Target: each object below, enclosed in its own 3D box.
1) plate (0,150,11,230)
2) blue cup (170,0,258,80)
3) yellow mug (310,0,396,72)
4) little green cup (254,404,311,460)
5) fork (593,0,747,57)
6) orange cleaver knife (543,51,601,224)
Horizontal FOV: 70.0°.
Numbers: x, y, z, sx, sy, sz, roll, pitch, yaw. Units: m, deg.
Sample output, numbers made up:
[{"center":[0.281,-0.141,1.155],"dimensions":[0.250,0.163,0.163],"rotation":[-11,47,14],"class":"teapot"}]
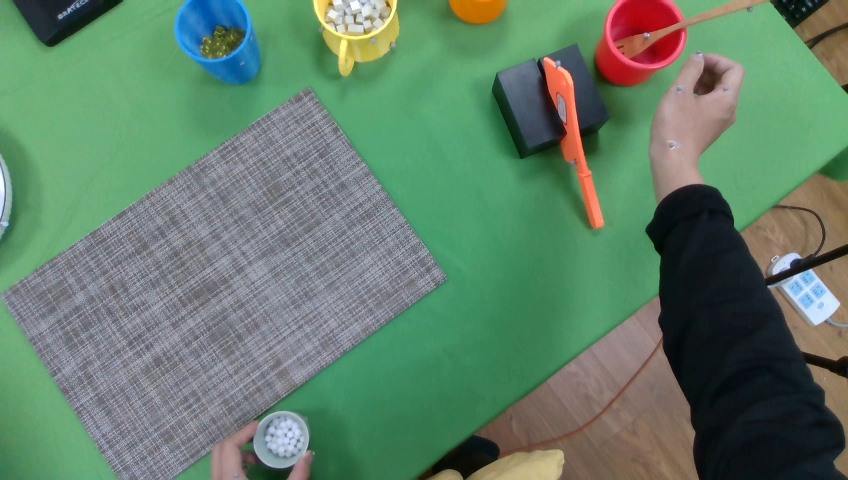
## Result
[{"center":[-0.595,-0.053,0.725],"dimensions":[0.208,0.039,0.207],"rotation":[0,83,-1],"class":"plate"},{"center":[-0.239,-0.237,0.721],"dimensions":[0.093,0.100,0.092],"rotation":[0,84,-2],"class":"blue cup"},{"center":[-0.089,-0.271,0.744],"dimensions":[0.100,0.064,0.130],"rotation":[12,84,1],"class":"yellow mug"},{"center":[-0.159,0.218,0.696],"dimensions":[0.061,0.038,0.061],"rotation":[0,87,2],"class":"little green cup"},{"center":[0.298,-0.257,0.710],"dimensions":[0.206,0.019,0.028],"rotation":[-12,79,40],"class":"fork"},{"center":[0.176,-0.120,0.724],"dimensions":[0.012,0.076,0.213],"rotation":[-20,113,0],"class":"orange cleaver knife"}]
